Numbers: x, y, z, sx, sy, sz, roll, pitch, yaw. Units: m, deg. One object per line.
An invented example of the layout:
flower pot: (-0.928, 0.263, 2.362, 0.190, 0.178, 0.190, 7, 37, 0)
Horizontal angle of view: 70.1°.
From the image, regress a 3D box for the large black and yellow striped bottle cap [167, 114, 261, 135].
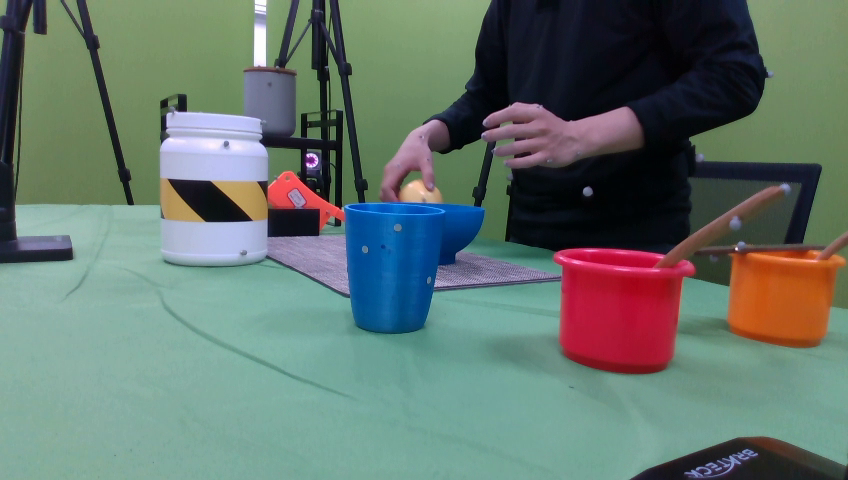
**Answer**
large black and yellow striped bottle cap: (-0.269, -0.148, 0.779, 0.115, 0.019, 0.115, 4, 8, 0)

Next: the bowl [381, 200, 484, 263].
bowl: (0.008, -0.012, 0.842, 0.151, 0.077, 0.151, 3, 7, 0)

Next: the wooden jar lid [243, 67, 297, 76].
wooden jar lid: (-0.319, -0.342, 1.254, 0.108, 0.020, 0.108, 3, 8, 0)

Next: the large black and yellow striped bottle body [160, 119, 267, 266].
large black and yellow striped bottle body: (-0.272, -0.065, 0.789, 0.131, 0.184, 0.130, 2, 7, 0)

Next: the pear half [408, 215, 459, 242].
pear half: (0.011, -0.019, 0.848, 0.070, 0.031, 0.088, 5, 12, 32)

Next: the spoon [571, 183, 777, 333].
spoon: (0.161, 0.020, 0.413, 0.042, 0.021, 0.193, 1, -36, -24)

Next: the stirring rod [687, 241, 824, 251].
stirring rod: (0.289, 0.005, 0.525, 0.177, 0.006, 0.014, -1, 5, -26)

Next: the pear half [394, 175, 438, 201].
pear half: (-0.010, -0.057, 1.049, 0.056, 0.109, 0.076, -25, -16, -47)

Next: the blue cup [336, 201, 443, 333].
blue cup: (-0.029, 0.021, 0.508, 0.093, 0.100, 0.092, 3, 9, 0)

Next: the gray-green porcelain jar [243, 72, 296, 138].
gray-green porcelain jar: (-0.322, -0.279, 1.263, 0.106, 0.126, 0.106, 3, 8, 0)

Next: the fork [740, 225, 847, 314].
fork: (0.323, 0.013, 0.485, 0.028, 0.018, 0.207, 8, -37, -6)

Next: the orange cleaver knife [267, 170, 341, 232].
orange cleaver knife: (-0.201, -0.056, 1.136, 0.212, 0.077, 0.012, 31, -4, -31)
